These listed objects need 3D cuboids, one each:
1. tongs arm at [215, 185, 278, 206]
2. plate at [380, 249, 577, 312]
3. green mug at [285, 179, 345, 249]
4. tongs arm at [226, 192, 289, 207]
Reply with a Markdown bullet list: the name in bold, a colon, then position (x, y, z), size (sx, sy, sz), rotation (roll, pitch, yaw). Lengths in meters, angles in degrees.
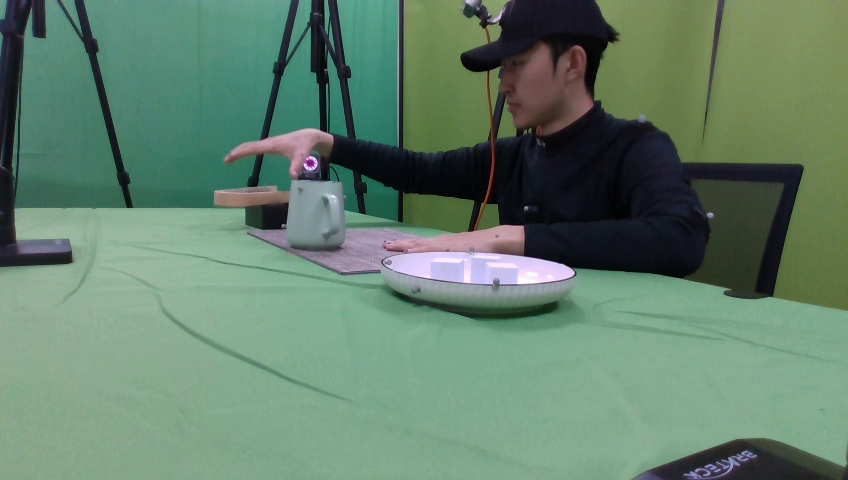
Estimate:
- **tongs arm**: position (-0.362, -0.099, 1.297), size (0.051, 0.026, 0.385), rotation (6, 7, 6)
- **plate**: position (0.056, 0.042, 0.646), size (0.209, 0.038, 0.209), rotation (2, 7, 0)
- **green mug**: position (-0.161, -0.040, 0.936), size (0.093, 0.105, 0.124), rotation (-2, 8, -32)
- **tongs arm**: position (-0.285, -0.092, 1.284), size (0.028, 0.028, 0.389), rotation (11, 9, 18)
